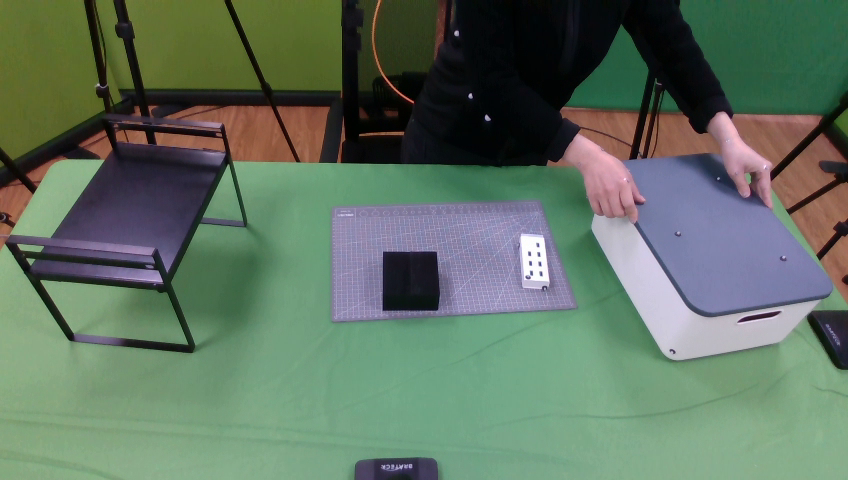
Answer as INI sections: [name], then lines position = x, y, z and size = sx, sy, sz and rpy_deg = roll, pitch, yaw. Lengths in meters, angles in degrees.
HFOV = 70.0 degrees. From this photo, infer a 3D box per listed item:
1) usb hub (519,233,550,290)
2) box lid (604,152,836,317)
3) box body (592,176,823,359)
[usb hub]
position = 0.212, 0.039, 1.168
size = 0.049, 0.025, 0.124
rpy_deg = 3, 45, 0
[box lid]
position = 0.499, -0.029, 1.059
size = 0.264, 0.015, 0.369
rpy_deg = -7, 47, -11
[box body]
position = 0.496, 0.023, 1.111
size = 0.254, 0.161, 0.361
rpy_deg = -8, 47, -10
